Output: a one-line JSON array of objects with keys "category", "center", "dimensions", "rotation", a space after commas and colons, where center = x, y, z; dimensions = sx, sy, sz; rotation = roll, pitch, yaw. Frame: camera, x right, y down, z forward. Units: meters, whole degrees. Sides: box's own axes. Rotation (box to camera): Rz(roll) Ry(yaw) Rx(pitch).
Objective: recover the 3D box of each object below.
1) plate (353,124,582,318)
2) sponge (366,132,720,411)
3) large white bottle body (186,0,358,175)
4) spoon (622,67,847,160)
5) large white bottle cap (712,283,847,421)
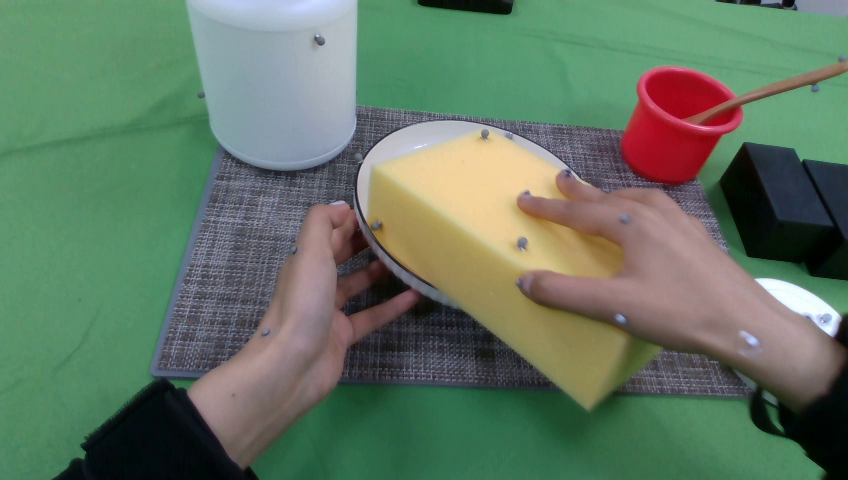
[{"category": "plate", "center": [0.045, -0.015, 0.492], "dimensions": [0.210, 0.038, 0.207], "rotation": [9, 47, -9]}, {"category": "sponge", "center": [0.071, 0.006, 0.414], "dimensions": [0.118, 0.061, 0.205], "rotation": [-26, 48, -38]}, {"category": "large white bottle body", "center": [-0.120, -0.161, 0.501], "dimensions": [0.131, 0.186, 0.129], "rotation": [4, 49, -5]}, {"category": "spoon", "center": [0.279, -0.115, 0.556], "dimensions": [0.193, 0.022, 0.041], "rotation": [-22, 38, 31]}, {"category": "large white bottle cap", "center": [0.283, 0.084, 0.470], "dimensions": [0.115, 0.018, 0.113], "rotation": [6, 49, -7]}]
